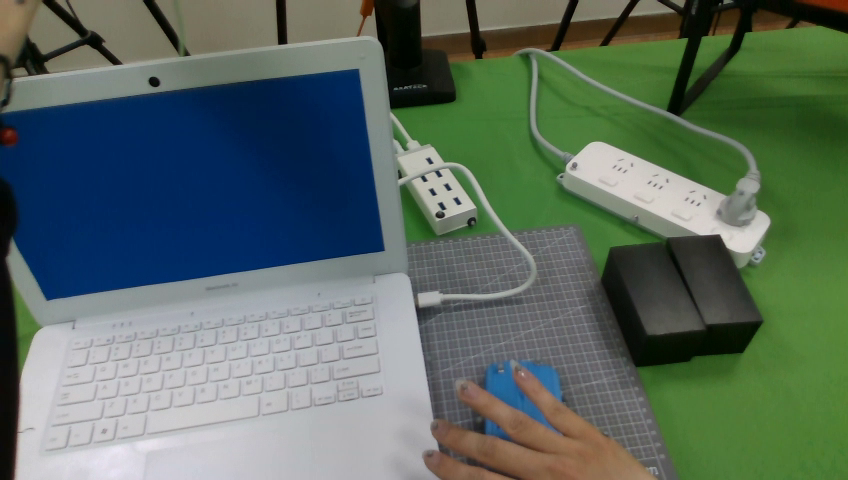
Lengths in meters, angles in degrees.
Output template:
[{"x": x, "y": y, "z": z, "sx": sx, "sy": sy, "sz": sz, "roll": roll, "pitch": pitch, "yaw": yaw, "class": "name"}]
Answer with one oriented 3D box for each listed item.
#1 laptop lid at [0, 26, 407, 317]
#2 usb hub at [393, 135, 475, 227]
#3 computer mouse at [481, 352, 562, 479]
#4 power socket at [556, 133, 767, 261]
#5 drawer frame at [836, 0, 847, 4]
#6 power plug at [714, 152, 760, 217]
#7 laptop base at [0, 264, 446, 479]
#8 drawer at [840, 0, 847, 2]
[{"x": -0.200, "y": -0.045, "z": 0.519, "sx": 0.357, "sy": 0.244, "sz": 0.013, "roll": -10, "pitch": 36, "yaw": -3, "class": "laptop lid"}, {"x": 0.007, "y": -0.069, "z": 0.683, "sx": 0.049, "sy": 0.025, "sz": 0.123, "roll": -20, "pitch": 50, "yaw": -14, "class": "usb hub"}, {"x": 0.077, "y": 0.137, "z": 0.484, "sx": 0.063, "sy": 0.041, "sz": 0.116, "roll": 2, "pitch": 44, "yaw": 7, "class": "computer mouse"}, {"x": 0.251, "y": -0.051, "z": 0.650, "sx": 0.225, "sy": 0.033, "sz": 0.072, "roll": 32, "pitch": 56, "yaw": 27, "class": "power socket"}, {"x": 0.456, "y": -0.310, "z": 0.595, "sx": 0.200, "sy": 0.083, "sz": 0.213, "roll": 25, "pitch": 54, "yaw": 23, "class": "drawer frame"}, {"x": 0.325, "y": -0.048, "z": 0.614, "sx": 0.072, "sy": 0.053, "sz": 0.035, "roll": -33, "pitch": 54, "yaw": -22, "class": "power plug"}, {"x": -0.172, "y": 0.138, "z": 0.511, "sx": 0.355, "sy": 0.023, "sz": 0.233, "roll": -8, "pitch": 52, "yaw": -4, "class": "laptop base"}, {"x": 0.454, "y": -0.307, "z": 0.595, "sx": 0.193, "sy": 0.074, "sz": 0.211, "roll": 26, "pitch": 54, "yaw": 24, "class": "drawer"}]
